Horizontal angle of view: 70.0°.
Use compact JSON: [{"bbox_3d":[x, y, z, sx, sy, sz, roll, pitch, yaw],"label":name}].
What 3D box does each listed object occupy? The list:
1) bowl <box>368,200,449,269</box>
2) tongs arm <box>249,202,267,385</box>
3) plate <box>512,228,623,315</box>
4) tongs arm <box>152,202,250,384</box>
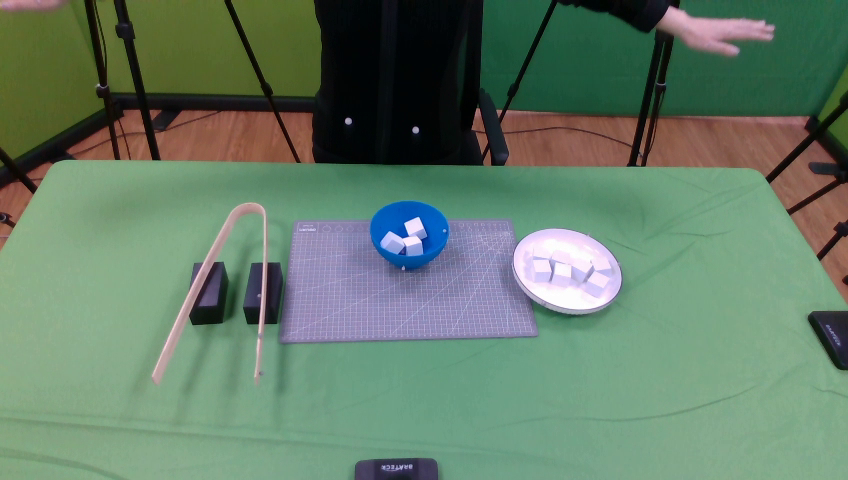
[{"bbox_3d":[-0.031,0.002,1.150,0.151,0.077,0.150,2,46,-2],"label":"bowl"},{"bbox_3d":[-0.293,0.074,1.032,0.051,0.026,0.382,-3,47,-5],"label":"tongs arm"},{"bbox_3d":[0.268,0.063,1.146,0.208,0.039,0.206,3,46,-3],"label":"plate"},{"bbox_3d":[-0.371,0.071,1.028,0.028,0.028,0.385,4,46,6],"label":"tongs arm"}]
